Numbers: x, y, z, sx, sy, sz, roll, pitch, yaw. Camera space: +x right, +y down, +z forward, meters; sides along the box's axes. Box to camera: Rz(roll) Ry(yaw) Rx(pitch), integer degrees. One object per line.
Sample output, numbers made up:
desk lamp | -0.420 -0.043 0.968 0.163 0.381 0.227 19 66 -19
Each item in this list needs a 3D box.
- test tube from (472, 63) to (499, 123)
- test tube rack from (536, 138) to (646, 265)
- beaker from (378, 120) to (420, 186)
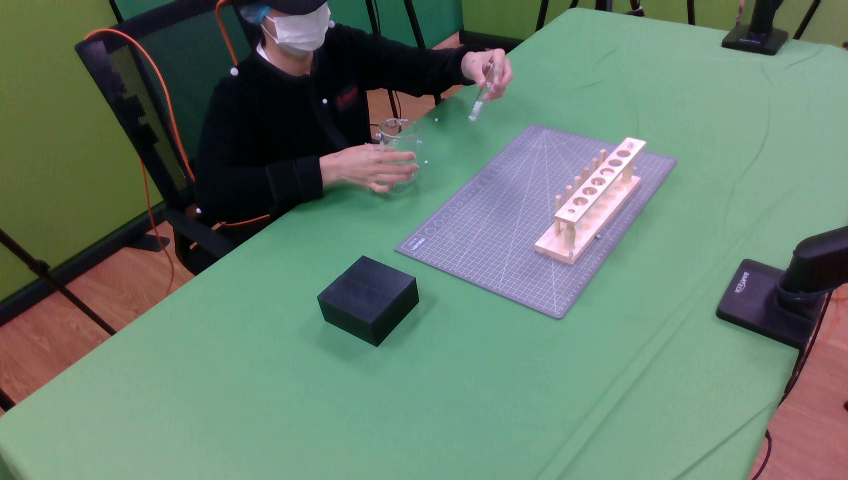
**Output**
test tube | 0.104 -0.249 1.041 0.017 0.150 0.017 4 65 -7
test tube rack | 0.268 -0.071 0.964 0.066 0.085 0.243 23 49 32
beaker | -0.045 -0.157 1.087 0.074 0.100 0.083 0 37 -3
